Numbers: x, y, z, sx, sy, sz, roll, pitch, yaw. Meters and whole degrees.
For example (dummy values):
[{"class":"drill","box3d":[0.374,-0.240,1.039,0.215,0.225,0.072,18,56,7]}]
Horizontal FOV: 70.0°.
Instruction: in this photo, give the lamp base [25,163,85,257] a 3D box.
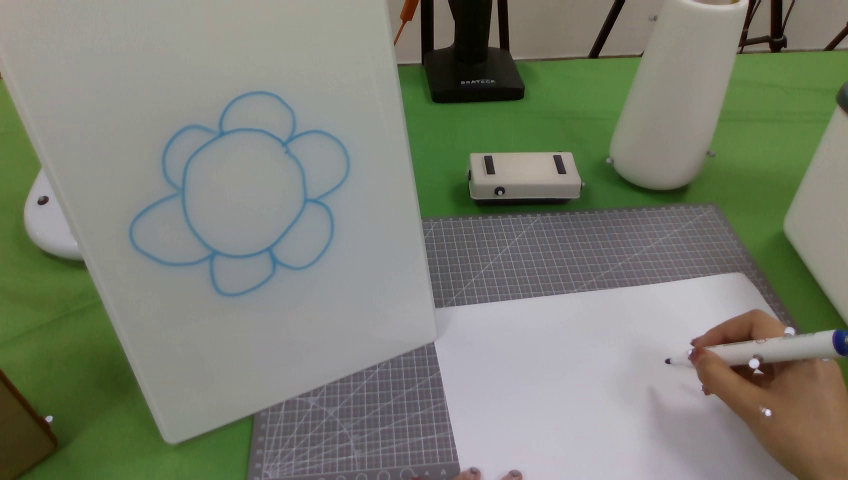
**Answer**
[{"class":"lamp base","box3d":[-0.314,-0.102,0.553,0.178,0.182,0.160,26,49,26]}]

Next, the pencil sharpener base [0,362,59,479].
[{"class":"pencil sharpener base","box3d":[-0.302,0.105,0.394,0.076,0.108,0.061,32,52,28]}]

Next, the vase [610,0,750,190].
[{"class":"vase","box3d":[0.254,-0.147,0.605,0.098,0.202,0.097,2,44,-1]}]

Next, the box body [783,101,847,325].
[{"class":"box body","box3d":[0.480,0.042,0.444,0.254,0.162,0.360,-3,44,-3]}]

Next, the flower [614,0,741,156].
[{"class":"flower","box3d":[0.267,-0.197,0.538,0.044,0.363,0.038,-23,66,-32]}]

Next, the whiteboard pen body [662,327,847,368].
[{"class":"whiteboard pen body","box3d":[0.213,0.074,0.404,0.017,0.140,0.017,7,72,-24]}]

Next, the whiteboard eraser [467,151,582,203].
[{"class":"whiteboard eraser","box3d":[0.103,-0.065,0.628,0.113,0.042,0.055,-2,42,-2]}]

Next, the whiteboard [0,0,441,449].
[{"class":"whiteboard","box3d":[-0.130,-0.043,0.451,0.218,0.308,0.142,-18,28,-18]}]

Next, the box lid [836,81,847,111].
[{"class":"box lid","box3d":[0.480,-0.011,0.390,0.263,0.015,0.367,-2,44,-4]}]
